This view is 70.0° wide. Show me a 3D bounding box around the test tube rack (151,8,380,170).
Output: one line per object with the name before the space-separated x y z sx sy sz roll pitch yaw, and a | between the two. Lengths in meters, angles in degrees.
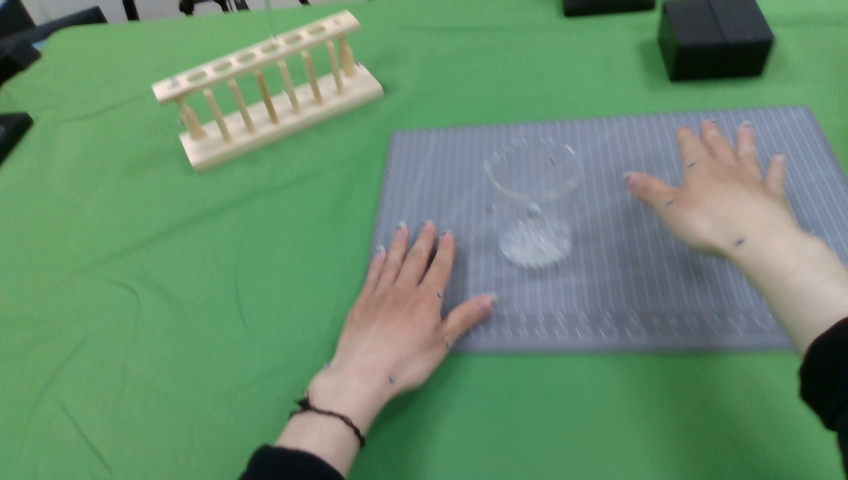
test tube rack | -0.181 -0.181 0.719 0.242 0.086 0.066 -27 51 -13

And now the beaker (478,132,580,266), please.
beaker | 0.092 -0.032 0.530 0.083 0.101 0.073 6 50 16

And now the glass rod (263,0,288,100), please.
glass rod | -0.174 -0.248 0.686 0.008 0.201 0.008 -2 43 2
